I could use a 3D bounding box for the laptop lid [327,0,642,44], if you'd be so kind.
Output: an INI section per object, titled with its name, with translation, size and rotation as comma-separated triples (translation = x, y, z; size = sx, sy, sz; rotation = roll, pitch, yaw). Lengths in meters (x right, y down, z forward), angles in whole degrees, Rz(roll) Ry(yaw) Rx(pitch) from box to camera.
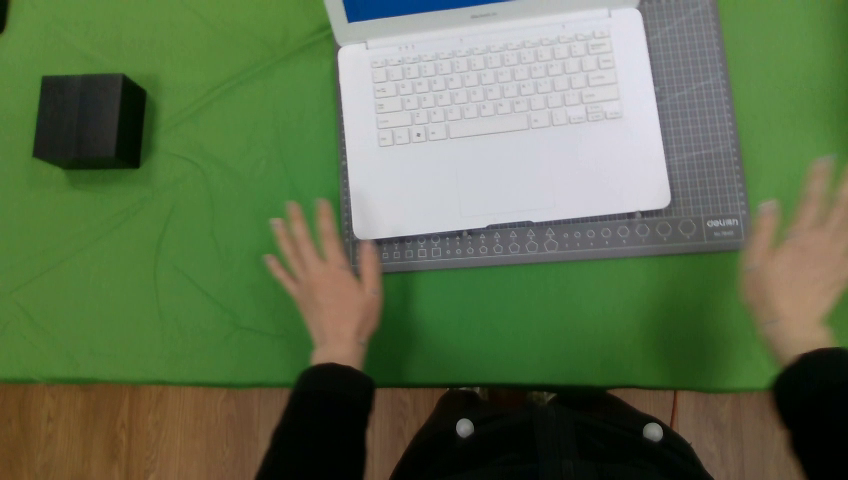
[laptop lid]
translation = 0.060, -0.314, 0.612
size = 0.356, 0.244, 0.013
rotation = -7, 56, 5

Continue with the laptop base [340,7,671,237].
[laptop base]
translation = 0.085, -0.134, 0.691
size = 0.354, 0.023, 0.235
rotation = -6, 84, 4
